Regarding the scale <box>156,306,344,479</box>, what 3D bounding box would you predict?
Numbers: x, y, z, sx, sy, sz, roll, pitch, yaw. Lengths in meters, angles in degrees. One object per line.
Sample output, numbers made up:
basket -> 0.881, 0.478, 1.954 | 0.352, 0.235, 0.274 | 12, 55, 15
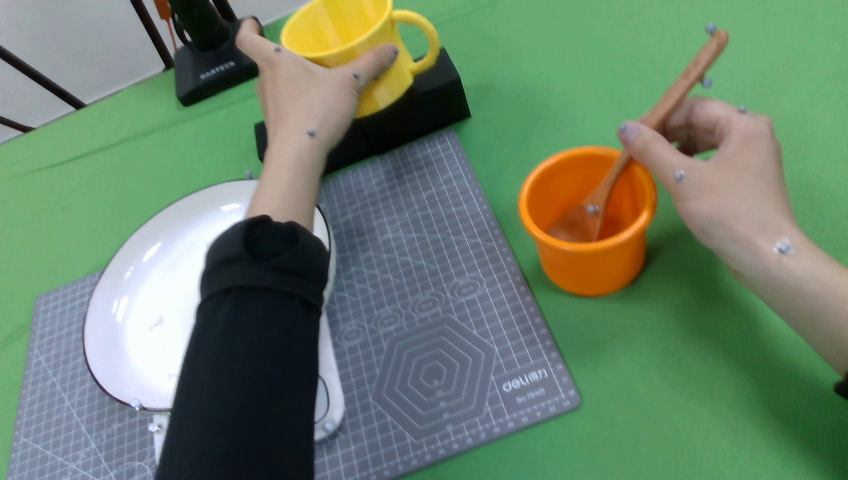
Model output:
scale -> -0.149, 0.079, 0.489 | 0.148, 0.032, 0.198 | -22, 52, 3

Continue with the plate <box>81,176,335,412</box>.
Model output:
plate -> -0.166, 0.039, 0.481 | 0.209, 0.038, 0.207 | -8, 53, 11

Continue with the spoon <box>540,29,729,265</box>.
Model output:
spoon -> 0.140, -0.056, 0.417 | 0.022, 0.194, 0.041 | 3, 42, -34

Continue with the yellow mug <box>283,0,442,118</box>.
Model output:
yellow mug -> -0.049, -0.166, 0.524 | 0.130, 0.064, 0.099 | -4, 52, 17
